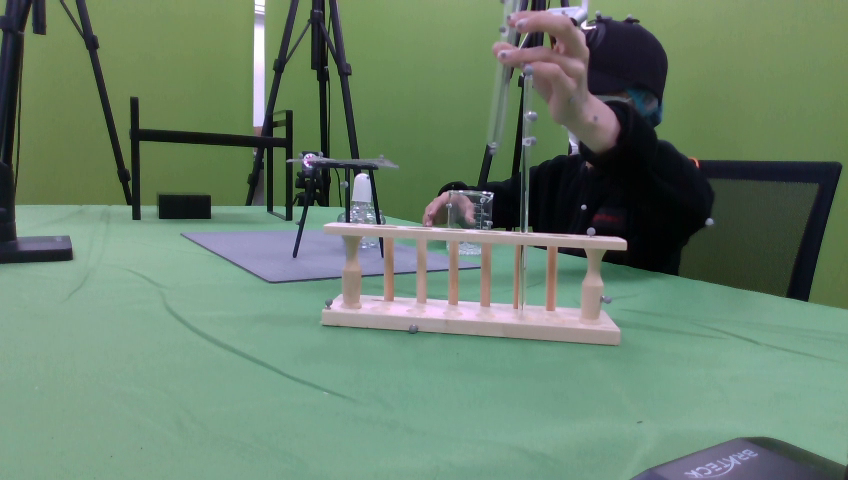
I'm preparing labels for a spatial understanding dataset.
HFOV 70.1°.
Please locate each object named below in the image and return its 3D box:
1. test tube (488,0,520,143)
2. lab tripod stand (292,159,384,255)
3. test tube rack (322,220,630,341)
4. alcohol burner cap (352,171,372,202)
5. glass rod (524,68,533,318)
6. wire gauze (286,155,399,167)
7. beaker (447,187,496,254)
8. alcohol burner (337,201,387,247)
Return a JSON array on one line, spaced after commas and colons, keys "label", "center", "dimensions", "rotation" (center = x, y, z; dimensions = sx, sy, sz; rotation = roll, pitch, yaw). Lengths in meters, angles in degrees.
[{"label": "test tube", "center": [0.079, -0.170, 0.592], "dimensions": [0.017, 0.150, 0.017], "rotation": [6, 3, 0]}, {"label": "lab tripod stand", "center": [-0.105, -0.039, 0.798], "dimensions": [0.148, 0.131, 0.148], "rotation": [2, 5, 0]}, {"label": "test tube rack", "center": [0.041, 0.029, 0.512], "dimensions": [0.242, 0.085, 0.067], "rotation": [3, 7, 5]}, {"label": "alcohol burner cap", "center": [-0.096, -0.084, 0.951], "dimensions": [0.034, 0.048, 0.034], "rotation": [6, 5, 0]}, {"label": "glass rod", "center": [0.082, -0.031, 0.473], "dimensions": [0.008, 0.199, 0.008], "rotation": [-2, 14, 1]}, {"label": "wire gauze", "center": [-0.101, -0.105, 0.788], "dimensions": [0.121, 0.011, 0.125], "rotation": [4, 6, 6]}, {"label": "beaker", "center": [0.075, -0.032, 0.949], "dimensions": [0.074, 0.100, 0.083], "rotation": [-5, 11, -42]}, {"label": "alcohol burner", "center": [-0.098, -0.049, 0.954], "dimensions": [0.078, 0.119, 0.078], "rotation": [0, 7, 0]}]
